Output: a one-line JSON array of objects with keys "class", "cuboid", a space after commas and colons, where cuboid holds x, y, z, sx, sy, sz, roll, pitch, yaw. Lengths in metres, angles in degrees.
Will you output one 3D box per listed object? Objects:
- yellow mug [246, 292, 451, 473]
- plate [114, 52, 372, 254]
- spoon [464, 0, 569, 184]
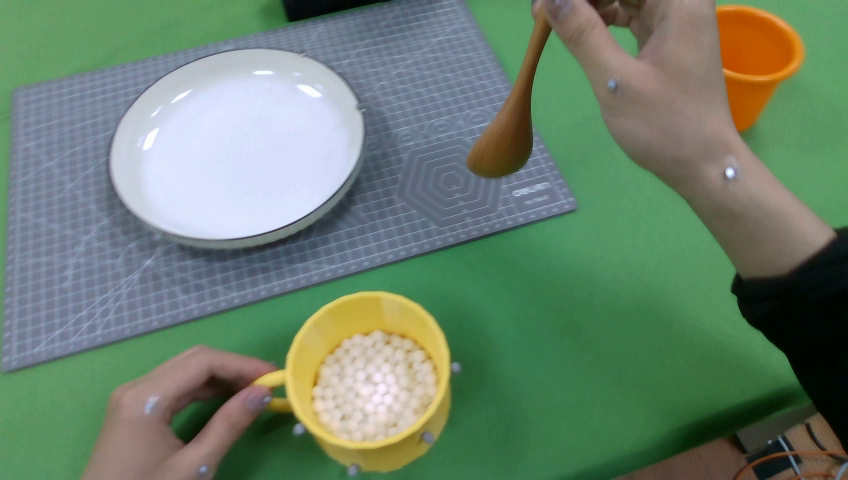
[{"class": "yellow mug", "cuboid": [-0.048, 0.094, 0.389, 0.131, 0.064, 0.099, -8, 58, -2]}, {"class": "plate", "cuboid": [-0.146, -0.073, 0.509, 0.208, 0.039, 0.205, -1, 58, 1]}, {"class": "spoon", "cuboid": [0.060, -0.096, 0.331, 0.042, 0.195, 0.021, 4, 48, -11]}]
